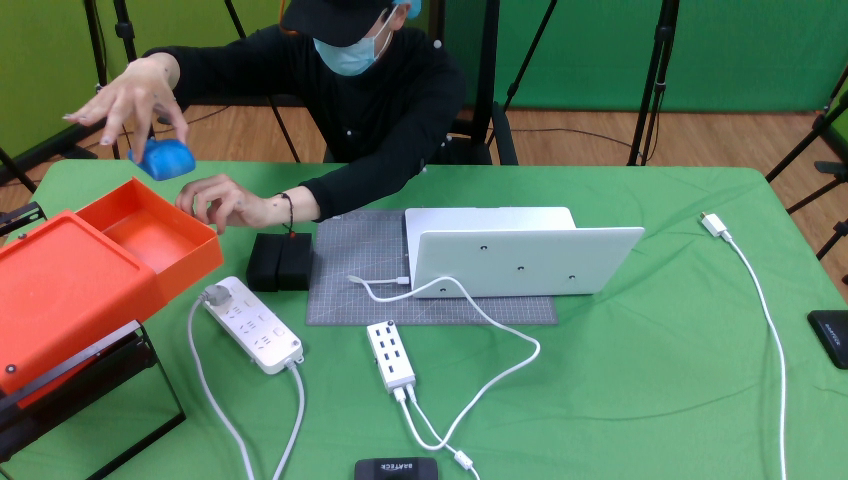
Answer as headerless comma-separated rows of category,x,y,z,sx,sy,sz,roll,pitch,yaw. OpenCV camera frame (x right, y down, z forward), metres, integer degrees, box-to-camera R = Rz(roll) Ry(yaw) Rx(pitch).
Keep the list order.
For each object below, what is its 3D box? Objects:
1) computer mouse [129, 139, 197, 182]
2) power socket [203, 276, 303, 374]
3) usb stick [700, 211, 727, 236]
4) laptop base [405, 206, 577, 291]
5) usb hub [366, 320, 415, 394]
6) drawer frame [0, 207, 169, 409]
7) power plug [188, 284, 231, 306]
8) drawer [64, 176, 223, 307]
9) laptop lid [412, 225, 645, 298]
computer mouse,-0.382,-0.123,0.881,0.063,0.041,0.116,-28,37,-33
power socket,-0.295,0.141,1.034,0.072,0.033,0.225,-34,58,-30
usb stick,0.606,-0.038,1.273,0.027,0.021,0.059,-18,57,-20
laptop base,0.143,0.018,1.195,0.355,0.023,0.234,-1,43,-6
usb hub,-0.056,0.192,1.009,0.049,0.025,0.124,-12,49,-16
drawer frame,-0.491,0.079,0.795,0.201,0.083,0.213,29,51,21
power plug,-0.368,0.100,1.037,0.072,0.053,0.035,-22,53,-26
drawer,-0.431,0.023,0.856,0.193,0.073,0.211,31,52,22
laptop lid,0.161,0.042,1.012,0.357,0.242,0.013,0,59,-7
